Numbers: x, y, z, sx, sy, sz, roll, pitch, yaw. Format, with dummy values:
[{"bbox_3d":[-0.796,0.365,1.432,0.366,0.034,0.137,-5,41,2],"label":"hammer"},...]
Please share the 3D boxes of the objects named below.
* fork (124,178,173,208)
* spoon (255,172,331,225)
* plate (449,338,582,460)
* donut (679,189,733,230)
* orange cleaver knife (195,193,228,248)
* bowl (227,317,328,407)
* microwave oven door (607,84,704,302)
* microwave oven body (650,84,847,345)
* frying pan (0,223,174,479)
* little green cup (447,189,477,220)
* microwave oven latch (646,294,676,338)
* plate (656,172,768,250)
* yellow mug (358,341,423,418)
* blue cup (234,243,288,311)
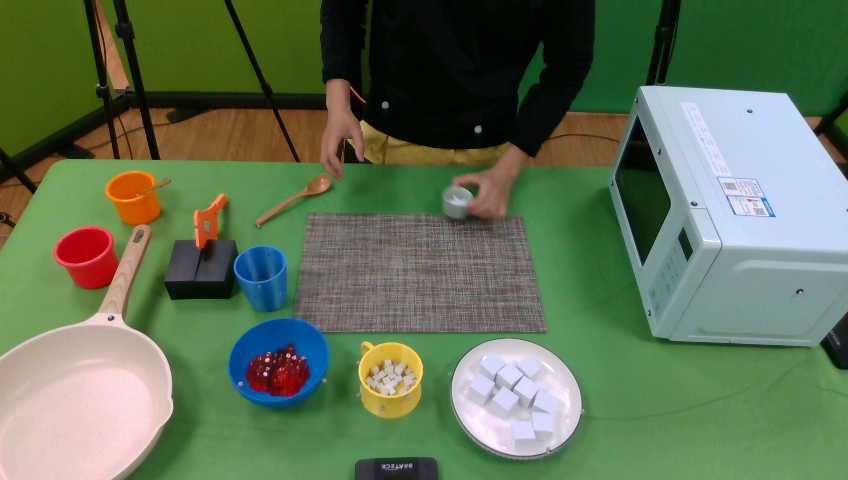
[{"bbox_3d":[-0.525,-0.089,1.153,0.207,0.019,0.028,-17,27,45],"label":"fork"},{"bbox_3d":[-0.272,-0.087,1.257,0.041,0.022,0.193,42,57,18],"label":"spoon"},{"bbox_3d":[0.141,0.251,0.955,0.208,0.039,0.206,2,46,-2],"label":"plate"},{"bbox_3d":[0.545,-0.061,1.176,0.099,0.048,0.098,0,45,0],"label":"donut"},{"bbox_3d":[-0.406,-0.041,1.163,0.012,0.077,0.210,0,18,-3],"label":"orange cleaver knife"},{"bbox_3d":[-0.222,0.203,0.947,0.151,0.077,0.150,2,46,-2],"label":"bowl"},{"bbox_3d":[0.424,-0.096,1.138,0.039,0.245,0.353,3,46,-1],"label":"microwave oven door"},{"bbox_3d":[0.569,-0.054,1.116,0.326,0.261,0.439,2,46,-1],"label":"microwave oven body"},{"bbox_3d":[-0.504,0.169,0.941,0.307,0.103,0.485,5,54,-1],"label":"frying pan"},{"bbox_3d":[0.077,-0.071,1.226,0.061,0.039,0.061,-2,41,2],"label":"little green cup"},{"bbox_3d":[0.412,0.133,1.060,0.030,0.029,0.078,4,46,1],"label":"microwave oven latch"},{"bbox_3d":[0.557,-0.053,1.186,0.209,0.038,0.208,1,45,-1],"label":"plate"},{"bbox_3d":[-0.063,0.210,0.961,0.100,0.064,0.130,-29,54,-28],"label":"yellow mug"},{"bbox_3d":[-0.276,0.072,1.052,0.093,0.101,0.092,1,48,-1],"label":"blue cup"}]
